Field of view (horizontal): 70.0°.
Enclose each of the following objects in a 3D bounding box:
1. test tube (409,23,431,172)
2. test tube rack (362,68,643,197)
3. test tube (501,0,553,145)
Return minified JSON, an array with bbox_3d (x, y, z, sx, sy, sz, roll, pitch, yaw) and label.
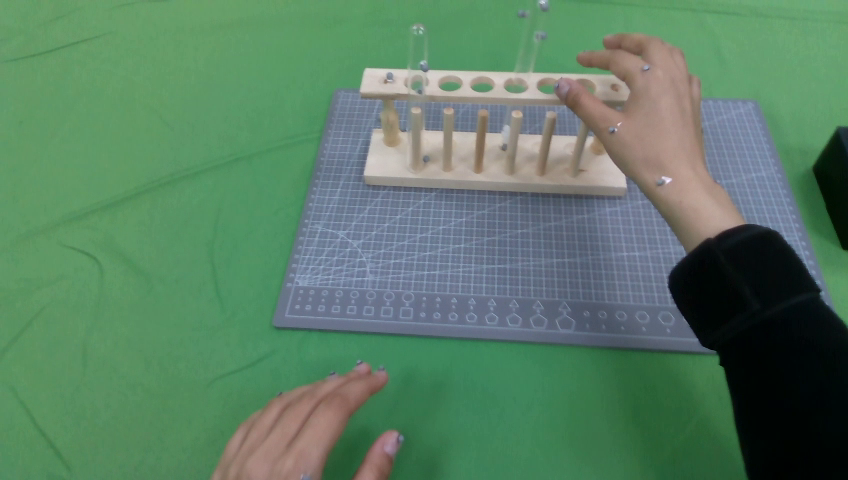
[{"bbox_3d":[-0.004,-0.115,0.512,0.017,0.152,0.017,1,52,-1],"label":"test tube"},{"bbox_3d":[0.067,-0.098,0.554,0.242,0.086,0.066,3,53,4],"label":"test tube rack"},{"bbox_3d":[0.087,-0.141,0.523,0.017,0.151,0.017,3,51,-3],"label":"test tube"}]
